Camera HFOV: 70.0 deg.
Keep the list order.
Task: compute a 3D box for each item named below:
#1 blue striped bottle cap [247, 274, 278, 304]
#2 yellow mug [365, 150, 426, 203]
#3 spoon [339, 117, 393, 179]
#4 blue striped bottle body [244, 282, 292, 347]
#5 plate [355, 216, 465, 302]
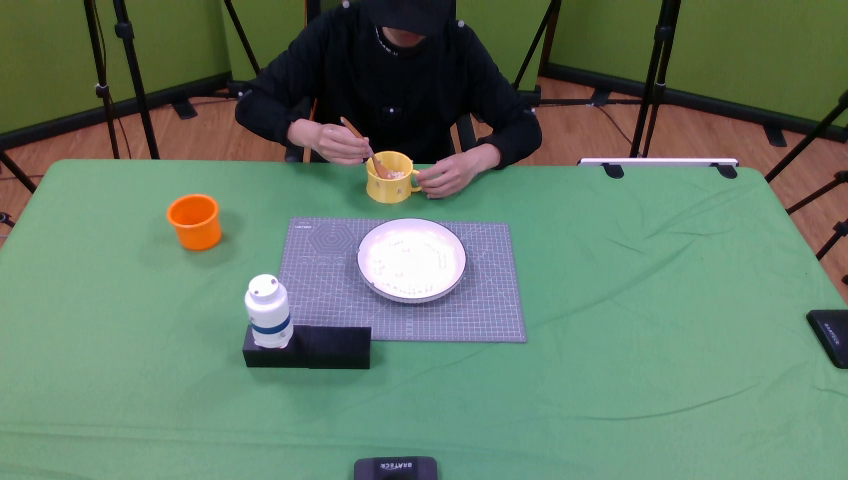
[{"bbox_3d":[-0.239,0.072,0.900,0.044,0.021,0.044,4,46,-4],"label":"blue striped bottle cap"},{"bbox_3d":[-0.061,-0.133,1.291,0.131,0.064,0.099,8,46,3],"label":"yellow mug"},{"bbox_3d":[-0.116,-0.182,1.227,0.021,0.195,0.041,-16,48,18],"label":"spoon"},{"bbox_3d":[-0.241,0.108,0.937,0.063,0.121,0.062,2,46,-2],"label":"blue striped bottle body"},{"bbox_3d":[-0.027,0.039,1.144,0.208,0.039,0.206,2,46,-2],"label":"plate"}]
